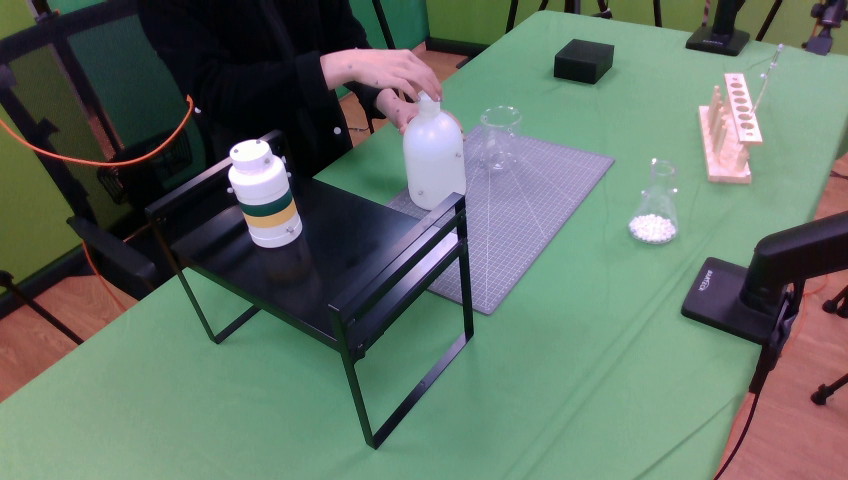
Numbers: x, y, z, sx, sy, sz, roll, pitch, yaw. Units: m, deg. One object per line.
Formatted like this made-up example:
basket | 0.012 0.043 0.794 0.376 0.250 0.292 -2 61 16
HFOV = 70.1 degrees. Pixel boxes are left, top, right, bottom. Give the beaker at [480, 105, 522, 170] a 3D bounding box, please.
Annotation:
beaker | 0.145 -0.187 1.111 0.084 0.101 0.073 -35 48 -29

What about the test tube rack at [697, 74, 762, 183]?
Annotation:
test tube rack | 0.547 -0.208 1.095 0.066 0.085 0.242 5 42 15

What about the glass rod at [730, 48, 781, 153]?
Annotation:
glass rod | 0.554 -0.228 1.015 0.008 0.200 0.008 1 44 -1

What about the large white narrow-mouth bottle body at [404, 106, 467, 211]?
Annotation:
large white narrow-mouth bottle body | 0.017 -0.152 1.017 0.102 0.195 0.101 -4 39 4

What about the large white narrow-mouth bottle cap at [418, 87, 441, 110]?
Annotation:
large white narrow-mouth bottle cap | 0.009 -0.224 0.959 0.038 0.024 0.037 -4 39 4

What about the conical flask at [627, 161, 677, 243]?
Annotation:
conical flask | 0.355 -0.061 0.921 0.075 0.122 0.075 -4 41 4

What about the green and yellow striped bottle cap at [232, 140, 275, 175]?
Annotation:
green and yellow striped bottle cap | -0.192 -0.093 0.680 0.045 0.020 0.045 -5 39 5

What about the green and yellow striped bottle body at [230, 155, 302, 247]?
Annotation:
green and yellow striped bottle body | -0.188 -0.055 0.714 0.063 0.120 0.063 -4 41 4
